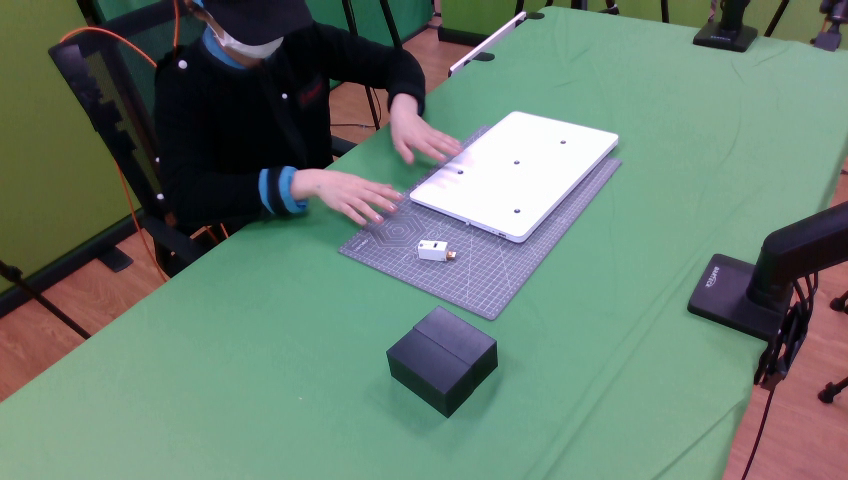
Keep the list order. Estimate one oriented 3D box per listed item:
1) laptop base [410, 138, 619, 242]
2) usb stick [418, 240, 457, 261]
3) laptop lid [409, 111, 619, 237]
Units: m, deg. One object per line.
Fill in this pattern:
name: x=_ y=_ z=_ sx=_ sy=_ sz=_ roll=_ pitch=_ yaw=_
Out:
laptop base: x=0.170 y=-0.127 z=1.096 sx=0.233 sy=0.023 sz=0.355 roll=21 pitch=47 yaw=34
usb stick: x=0.021 y=0.017 z=0.938 sx=0.059 sy=0.027 sz=0.021 roll=8 pitch=42 yaw=13
laptop lid: x=0.167 y=-0.136 z=1.089 sx=0.239 sy=0.013 sz=0.358 roll=23 pitch=48 yaw=34
